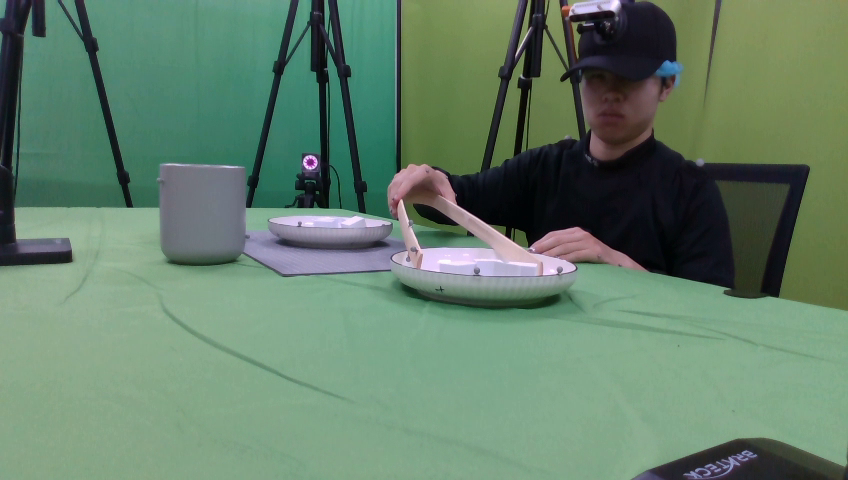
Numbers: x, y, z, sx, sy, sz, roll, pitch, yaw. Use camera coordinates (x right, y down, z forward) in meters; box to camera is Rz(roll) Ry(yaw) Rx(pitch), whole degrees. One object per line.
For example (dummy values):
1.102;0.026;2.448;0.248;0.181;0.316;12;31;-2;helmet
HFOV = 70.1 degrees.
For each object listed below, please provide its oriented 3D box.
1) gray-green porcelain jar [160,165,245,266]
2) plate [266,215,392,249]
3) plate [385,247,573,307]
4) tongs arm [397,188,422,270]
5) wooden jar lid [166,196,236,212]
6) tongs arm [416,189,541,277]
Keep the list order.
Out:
-0.291;-0.034;0.799;0.106;0.126;0.106;2;8;0;gray-green porcelain jar
-0.159;-0.015;1.019;0.209;0.038;0.209;3;7;0;plate
0.060;0.041;0.678;0.208;0.039;0.207;2;7;0;plate
-0.010;-0.023;0.810;0.051;0.026;0.384;4;15;-9;tongs arm
-0.369;-0.059;1.001;0.108;0.020;0.108;3;6;0;wooden jar lid
0.061;-0.017;0.827;0.028;0.028;0.386;-3;17;-19;tongs arm
